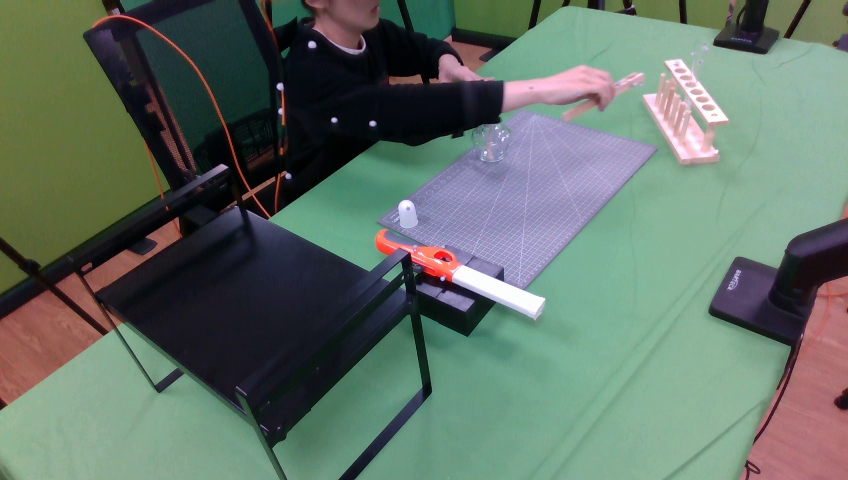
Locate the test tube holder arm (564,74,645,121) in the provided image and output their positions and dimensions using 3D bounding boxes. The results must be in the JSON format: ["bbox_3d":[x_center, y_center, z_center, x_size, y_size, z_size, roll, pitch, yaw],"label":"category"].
[{"bbox_3d":[0.304,-0.240,1.012,0.179,0.015,0.013,-30,29,-21],"label":"test tube holder arm"}]

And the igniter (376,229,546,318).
[{"bbox_3d":[0.040,0.042,0.845,0.274,0.025,0.057,23,46,27],"label":"igniter"}]

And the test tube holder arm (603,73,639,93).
[{"bbox_3d":[0.337,-0.263,1.034,0.088,0.015,0.010,-32,30,-25],"label":"test tube holder arm"}]

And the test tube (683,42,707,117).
[{"bbox_3d":[0.497,-0.292,1.114,0.017,0.151,0.017,-4,45,4],"label":"test tube"}]

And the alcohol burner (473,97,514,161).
[{"bbox_3d":[0.128,-0.208,1.123,0.078,0.119,0.077,-5,39,5],"label":"alcohol burner"}]

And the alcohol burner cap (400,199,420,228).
[{"bbox_3d":[-0.025,-0.047,1.015,0.034,0.048,0.033,-4,42,4],"label":"alcohol burner cap"}]

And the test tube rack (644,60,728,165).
[{"bbox_3d":[0.485,-0.246,1.139,0.067,0.085,0.241,-5,41,4],"label":"test tube rack"}]
